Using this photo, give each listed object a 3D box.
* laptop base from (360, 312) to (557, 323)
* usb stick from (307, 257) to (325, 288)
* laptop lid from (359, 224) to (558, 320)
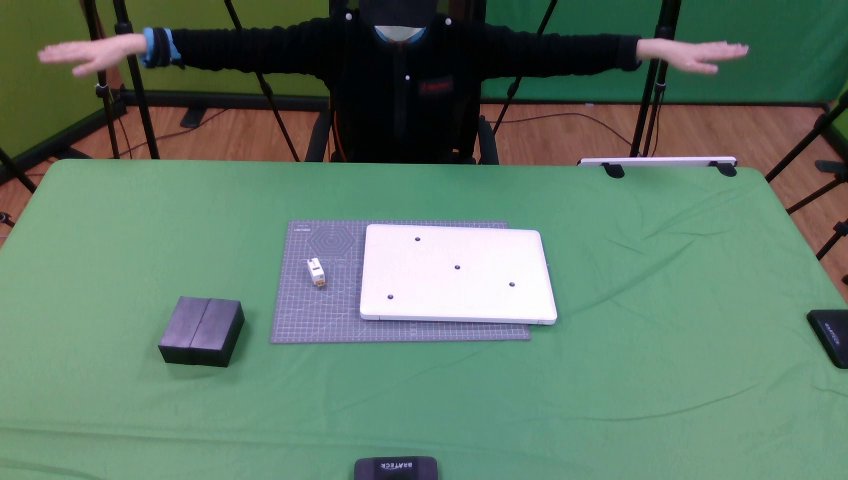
[{"bbox_3d":[0.061,0.063,1.145,0.354,0.023,0.234,2,43,-3],"label":"laptop base"},{"bbox_3d":[-0.198,0.062,1.116,0.021,0.027,0.059,-15,52,-19],"label":"usb stick"},{"bbox_3d":[0.062,0.053,1.138,0.357,0.013,0.240,3,44,-2],"label":"laptop lid"}]
